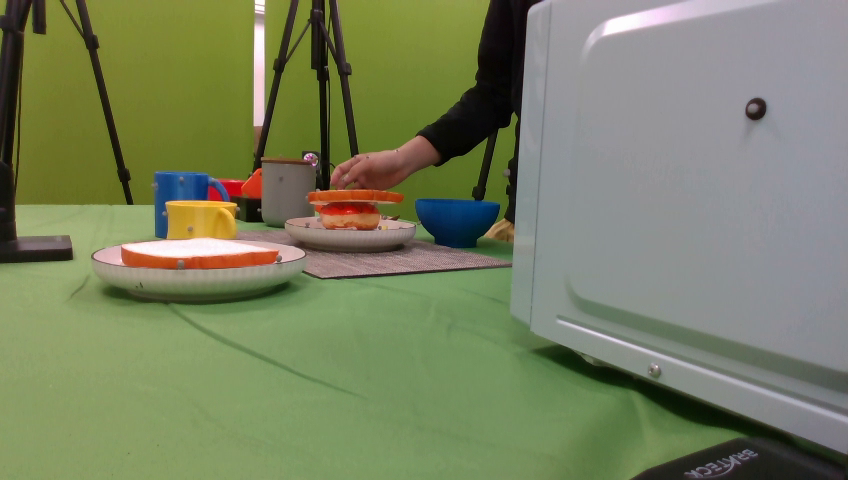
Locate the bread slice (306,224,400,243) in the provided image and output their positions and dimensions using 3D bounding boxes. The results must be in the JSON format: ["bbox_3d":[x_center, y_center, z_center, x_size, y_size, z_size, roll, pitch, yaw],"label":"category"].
[{"bbox_3d":[-0.103,-0.011,0.960,0.131,0.019,0.105,4,8,24],"label":"bread slice"}]

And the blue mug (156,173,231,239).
[{"bbox_3d":[-0.381,-0.057,1.004,0.117,0.106,0.082,0,8,-12],"label":"blue mug"}]

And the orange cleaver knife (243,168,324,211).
[{"bbox_3d":[-0.300,-0.089,1.351,0.212,0.077,0.012,29,-9,-34],"label":"orange cleaver knife"}]

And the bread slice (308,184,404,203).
[{"bbox_3d":[-0.114,-0.072,0.953,0.134,0.018,0.107,-3,-1,22],"label":"bread slice"}]

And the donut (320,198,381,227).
[{"bbox_3d":[-0.117,-0.042,0.965,0.099,0.048,0.099,-9,-7,-1],"label":"donut"}]

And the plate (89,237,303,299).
[{"bbox_3d":[-0.233,0.029,0.637,0.208,0.039,0.207,2,7,0],"label":"plate"}]

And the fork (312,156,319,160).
[{"bbox_3d":[-0.331,-0.144,1.506,0.207,0.018,0.028,-42,-20,22],"label":"fork"}]

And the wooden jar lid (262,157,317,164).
[{"bbox_3d":[-0.269,-0.154,1.208,0.108,0.020,0.108,3,4,0],"label":"wooden jar lid"}]

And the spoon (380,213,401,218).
[{"bbox_3d":[-0.121,-0.060,1.400,0.042,0.021,0.192,-29,26,-37],"label":"spoon"}]

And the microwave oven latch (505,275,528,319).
[{"bbox_3d":[0.100,0.042,0.471,0.079,0.029,0.030,-1,7,-28],"label":"microwave oven latch"}]

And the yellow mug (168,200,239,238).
[{"bbox_3d":[-0.320,-0.023,0.904,0.130,0.064,0.100,9,11,36],"label":"yellow mug"}]

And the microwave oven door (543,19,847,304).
[{"bbox_3d":[0.283,-0.070,0.593,0.357,0.243,0.039,-1,8,-23],"label":"microwave oven door"}]

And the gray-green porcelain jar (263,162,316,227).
[{"bbox_3d":[-0.271,-0.092,1.217,0.106,0.126,0.106,2,7,0],"label":"gray-green porcelain jar"}]

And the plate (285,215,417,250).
[{"bbox_3d":[-0.116,-0.014,0.964,0.209,0.038,0.209,2,8,0],"label":"plate"}]

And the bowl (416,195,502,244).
[{"bbox_3d":[0.059,-0.035,1.049,0.151,0.077,0.151,2,7,0],"label":"bowl"}]

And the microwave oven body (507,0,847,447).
[{"bbox_3d":[0.331,-0.042,0.425,0.444,0.260,0.324,-2,8,-31],"label":"microwave oven body"}]
